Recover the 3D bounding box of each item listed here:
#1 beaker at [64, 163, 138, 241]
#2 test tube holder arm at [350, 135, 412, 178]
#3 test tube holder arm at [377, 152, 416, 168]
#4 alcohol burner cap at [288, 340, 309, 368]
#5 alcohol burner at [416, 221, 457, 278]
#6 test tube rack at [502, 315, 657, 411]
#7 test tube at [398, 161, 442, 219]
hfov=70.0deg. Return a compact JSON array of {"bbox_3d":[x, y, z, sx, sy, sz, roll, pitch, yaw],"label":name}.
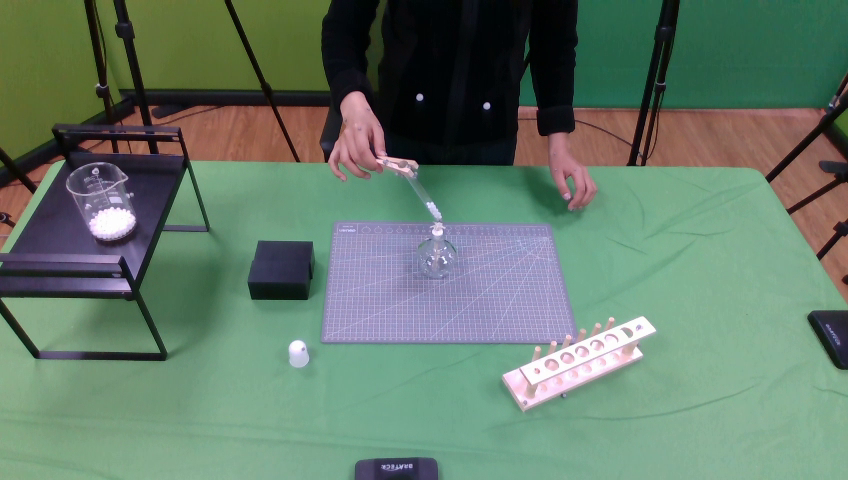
[{"bbox_3d":[-0.477,-0.055,0.910,0.084,0.101,0.073,-9,48,-13],"label":"beaker"},{"bbox_3d":[-0.075,-0.141,1.004,0.177,0.015,0.013,35,97,44],"label":"test tube holder arm"},{"bbox_3d":[-0.045,-0.130,0.972,0.087,0.015,0.010,20,87,45],"label":"test tube holder arm"},{"bbox_3d":[-0.207,0.183,0.991,0.034,0.048,0.033,3,47,-3],"label":"alcohol burner cap"},{"bbox_3d":[0.024,0.013,1.116,0.078,0.120,0.077,1,45,-1],"label":"alcohol burner"},{"bbox_3d":[0.253,0.186,0.989,0.242,0.085,0.066,-18,50,-20],"label":"test tube rack"},{"bbox_3d":[-0.004,-0.080,1.008,0.017,0.151,0.017,-15,51,20],"label":"test tube"}]
